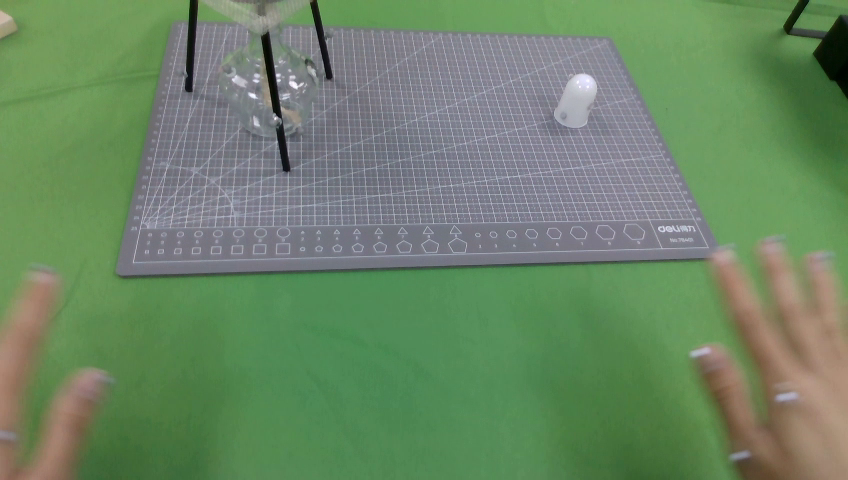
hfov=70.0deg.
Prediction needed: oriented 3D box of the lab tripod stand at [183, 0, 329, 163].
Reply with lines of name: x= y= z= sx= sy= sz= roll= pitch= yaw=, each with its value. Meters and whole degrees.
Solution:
lab tripod stand: x=-0.125 y=-0.155 z=0.467 sx=0.149 sy=0.132 sz=0.147 roll=6 pitch=53 yaw=-7

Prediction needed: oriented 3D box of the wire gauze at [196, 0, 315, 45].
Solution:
wire gauze: x=-0.119 y=-0.194 z=0.415 sx=0.124 sy=0.011 sz=0.121 roll=32 pitch=57 yaw=10

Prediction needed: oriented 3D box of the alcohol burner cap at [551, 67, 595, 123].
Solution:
alcohol burner cap: x=0.137 y=-0.134 z=0.550 sx=0.034 sy=0.048 sz=0.033 roll=4 pitch=52 yaw=-4

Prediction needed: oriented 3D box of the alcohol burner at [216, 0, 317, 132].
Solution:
alcohol burner: x=-0.123 y=-0.144 z=0.471 sx=0.078 sy=0.120 sz=0.077 roll=5 pitch=51 yaw=-6

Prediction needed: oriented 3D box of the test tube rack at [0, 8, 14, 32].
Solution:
test tube rack: x=-0.455 y=-0.158 z=0.452 sx=0.066 sy=0.086 sz=0.241 roll=30 pitch=54 yaw=14
